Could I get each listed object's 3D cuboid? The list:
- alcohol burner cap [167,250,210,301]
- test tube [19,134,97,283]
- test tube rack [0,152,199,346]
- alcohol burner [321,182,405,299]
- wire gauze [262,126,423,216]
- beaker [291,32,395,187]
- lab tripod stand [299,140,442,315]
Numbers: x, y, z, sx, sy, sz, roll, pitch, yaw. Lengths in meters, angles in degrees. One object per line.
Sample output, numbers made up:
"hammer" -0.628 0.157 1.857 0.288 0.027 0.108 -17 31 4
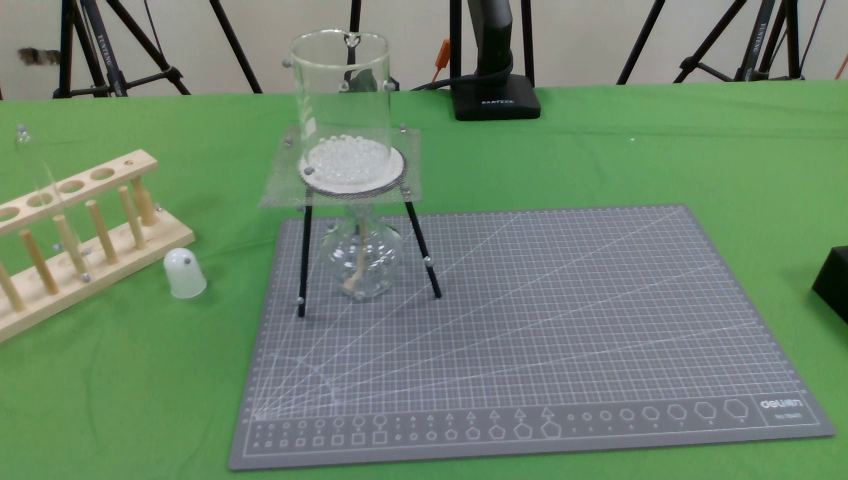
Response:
"alcohol burner cap" -0.222 0.030 0.568 0.034 0.048 0.033 1 40 0
"test tube" -0.317 -0.023 0.527 0.017 0.151 0.017 1 38 0
"test tube rack" -0.341 0.012 0.555 0.066 0.086 0.242 30 47 32
"alcohol burner" -0.056 -0.004 0.548 0.078 0.120 0.077 1 40 -1
"wire gauze" -0.061 -0.061 0.497 0.121 0.011 0.124 0 41 -1
"beaker" -0.059 -0.100 0.468 0.074 0.101 0.083 5 39 3
"lab tripod stand" -0.053 -0.011 0.541 0.148 0.132 0.147 1 38 -1
